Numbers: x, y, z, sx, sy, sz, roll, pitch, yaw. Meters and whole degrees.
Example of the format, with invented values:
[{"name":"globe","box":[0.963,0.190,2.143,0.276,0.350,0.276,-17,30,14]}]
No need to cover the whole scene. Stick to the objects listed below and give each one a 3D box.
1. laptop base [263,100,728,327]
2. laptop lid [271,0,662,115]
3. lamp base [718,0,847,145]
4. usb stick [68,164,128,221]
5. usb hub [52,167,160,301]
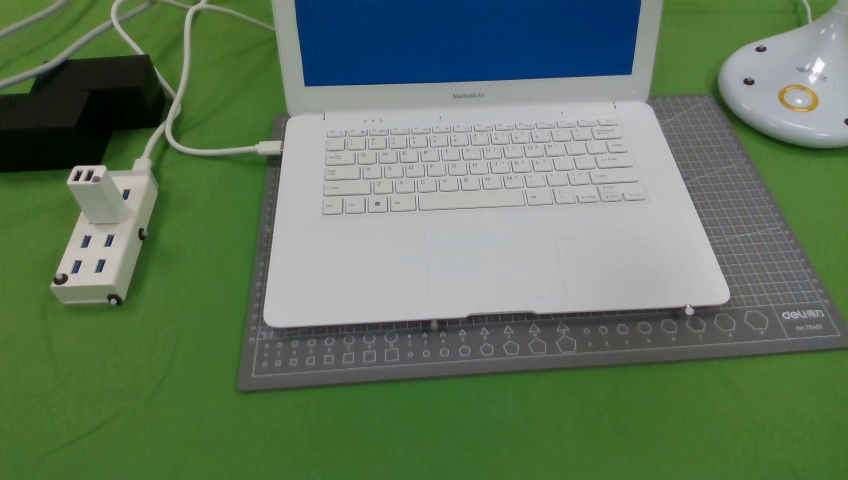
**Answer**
[{"name":"laptop base","box":[0.051,-0.033,0.523,0.354,0.023,0.233,-3,55,-2]},{"name":"laptop lid","box":[0.041,-0.226,0.537,0.357,0.243,0.013,-4,30,-2]},{"name":"lamp base","box":[0.386,-0.210,0.563,0.160,0.182,0.178,21,52,17]},{"name":"usb stick","box":[-0.255,-0.032,0.480,0.027,0.060,0.021,-4,51,-1]},{"name":"usb hub","box":[-0.258,-0.008,0.498,0.049,0.025,0.124,-3,51,-1]}]
